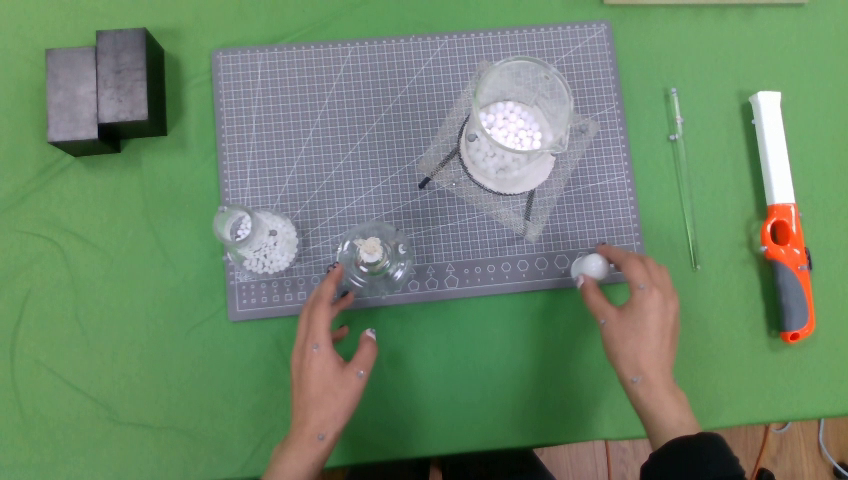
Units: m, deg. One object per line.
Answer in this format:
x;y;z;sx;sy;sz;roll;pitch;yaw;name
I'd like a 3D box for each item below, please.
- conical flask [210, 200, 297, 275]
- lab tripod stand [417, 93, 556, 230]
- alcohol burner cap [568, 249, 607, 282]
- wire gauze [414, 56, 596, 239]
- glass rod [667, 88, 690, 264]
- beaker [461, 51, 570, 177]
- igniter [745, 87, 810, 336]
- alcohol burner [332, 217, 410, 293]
-0.169;-0.008;0.585;0.075;0.122;0.075;0;82;-3;conical flask
0.067;-0.077;0.600;0.148;0.131;0.148;0;84;-1;lab tripod stand
0.170;0.024;0.620;0.034;0.048;0.033;1;80;-5;alcohol burner cap
0.072;-0.084;0.535;0.125;0.011;0.121;32;85;0;wire gauze
0.284;-0.072;0.675;0.008;0.008;0.199;-4;86;-3;glass rod
0.070;-0.093;0.487;0.074;0.100;0.084;-45;87;-6;beaker
0.388;-0.034;0.666;0.057;0.025;0.275;-2;83;-14;igniter
-0.053;0.012;0.593;0.078;0.119;0.077;0;82;0;alcohol burner
